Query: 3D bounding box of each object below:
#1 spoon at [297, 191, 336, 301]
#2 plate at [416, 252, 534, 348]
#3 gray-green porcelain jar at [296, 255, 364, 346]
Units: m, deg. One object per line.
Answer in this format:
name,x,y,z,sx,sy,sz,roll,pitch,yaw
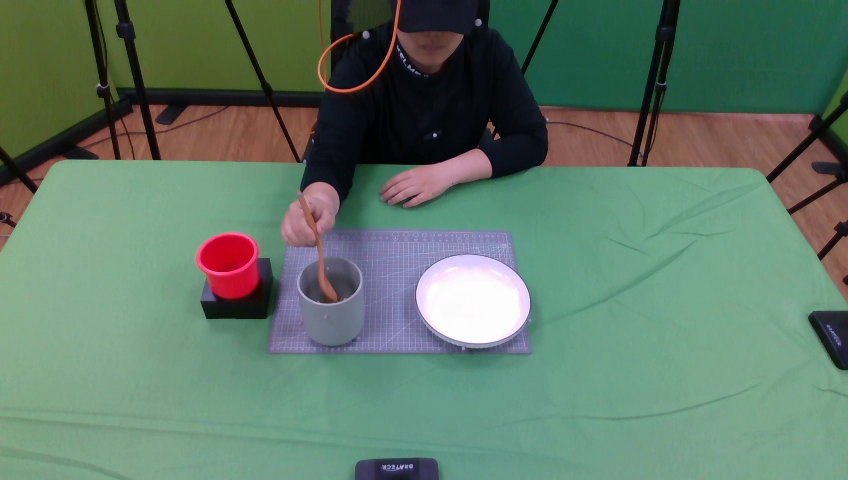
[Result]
spoon,-0.164,0.012,0.930,0.021,0.194,0.041,-9,27,-2
plate,0.090,0.109,1.084,0.208,0.039,0.206,2,46,-2
gray-green porcelain jar,-0.153,0.106,1.008,0.106,0.127,0.105,2,46,-2
